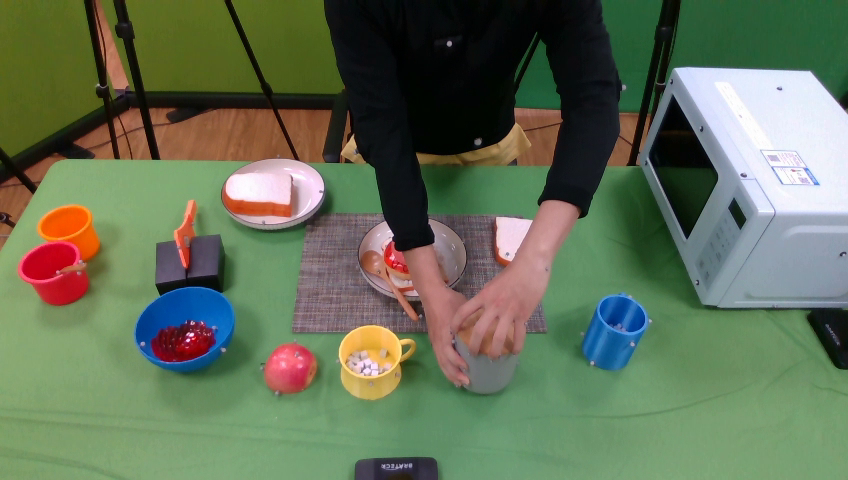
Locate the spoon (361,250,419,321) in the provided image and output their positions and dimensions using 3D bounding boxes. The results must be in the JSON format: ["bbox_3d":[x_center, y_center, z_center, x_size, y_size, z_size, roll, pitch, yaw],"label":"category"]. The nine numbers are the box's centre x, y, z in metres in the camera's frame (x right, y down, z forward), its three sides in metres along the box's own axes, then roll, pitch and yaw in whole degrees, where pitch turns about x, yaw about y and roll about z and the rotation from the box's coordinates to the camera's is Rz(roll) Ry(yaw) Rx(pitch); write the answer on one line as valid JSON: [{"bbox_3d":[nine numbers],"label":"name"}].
[{"bbox_3d":[-0.060,0.079,1.078,0.041,0.022,0.192,-20,42,-22],"label":"spoon"}]

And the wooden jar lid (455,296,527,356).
[{"bbox_3d":[0.100,0.132,0.918,0.108,0.021,0.107,3,47,-3],"label":"wooden jar lid"}]

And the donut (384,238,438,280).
[{"bbox_3d":[-0.025,0.029,1.109,0.099,0.048,0.098,2,47,-2],"label":"donut"}]

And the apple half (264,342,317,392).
[{"bbox_3d":[-0.214,0.198,0.970,0.074,0.053,0.080,19,48,11],"label":"apple half"}]

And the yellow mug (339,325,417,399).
[{"bbox_3d":[-0.071,0.190,0.978,0.131,0.064,0.099,-17,50,-20],"label":"yellow mug"}]

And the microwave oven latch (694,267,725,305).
[{"bbox_3d":[0.523,0.082,1.115,0.030,0.029,0.078,3,46,0],"label":"microwave oven latch"}]

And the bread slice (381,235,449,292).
[{"bbox_3d":[-0.027,0.040,1.141,0.107,0.018,0.133,-12,49,-16],"label":"bread slice"}]

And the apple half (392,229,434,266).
[{"bbox_3d":[-0.021,0.005,1.084,0.081,0.033,0.081,6,49,-6],"label":"apple half"}]

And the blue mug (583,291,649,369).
[{"bbox_3d":[0.324,0.142,1.023,0.082,0.106,0.116,15,47,11],"label":"blue mug"}]

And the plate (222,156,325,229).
[{"bbox_3d":[-0.308,-0.095,1.251,0.209,0.038,0.208,2,47,-2],"label":"plate"}]

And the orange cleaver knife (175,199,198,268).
[{"bbox_3d":[-0.438,-0.017,1.138,0.012,0.077,0.210,-13,27,-7],"label":"orange cleaver knife"}]

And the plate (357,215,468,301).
[{"bbox_3d":[-0.021,0.037,1.141,0.208,0.039,0.206,2,46,-2],"label":"plate"}]

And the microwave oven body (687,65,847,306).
[{"bbox_3d":[0.669,-0.111,1.176,0.326,0.261,0.439,0,46,-3],"label":"microwave oven body"}]

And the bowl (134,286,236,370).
[{"bbox_3d":[-0.377,0.156,0.981,0.151,0.077,0.150,2,46,-2],"label":"bowl"}]

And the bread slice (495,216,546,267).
[{"bbox_3d":[0.194,0.002,1.204,0.105,0.019,0.131,5,45,2],"label":"bread slice"}]

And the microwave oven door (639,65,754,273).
[{"bbox_3d":[0.522,-0.147,1.192,0.039,0.245,0.353,0,47,-3],"label":"microwave oven door"}]

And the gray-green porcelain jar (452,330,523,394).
[{"bbox_3d":[0.098,0.175,0.963,0.106,0.127,0.105,2,47,-2],"label":"gray-green porcelain jar"}]

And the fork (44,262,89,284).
[{"bbox_3d":[-0.598,0.054,1.014,0.207,0.019,0.028,-15,30,45],"label":"fork"}]
